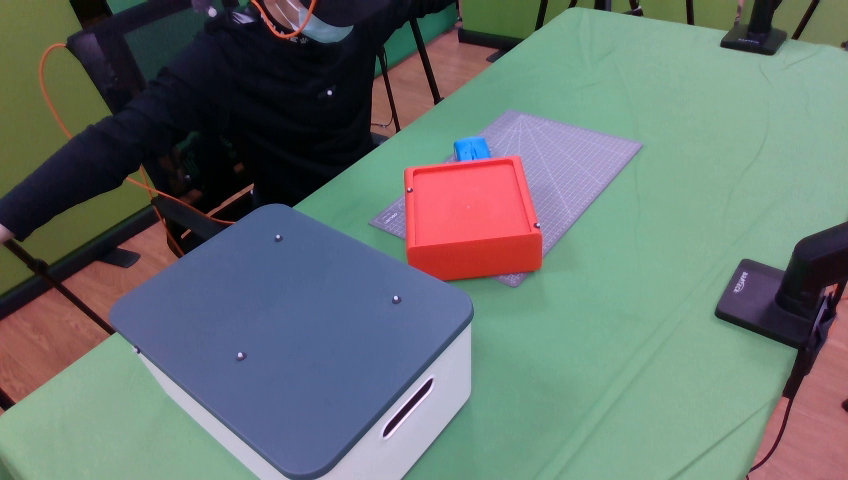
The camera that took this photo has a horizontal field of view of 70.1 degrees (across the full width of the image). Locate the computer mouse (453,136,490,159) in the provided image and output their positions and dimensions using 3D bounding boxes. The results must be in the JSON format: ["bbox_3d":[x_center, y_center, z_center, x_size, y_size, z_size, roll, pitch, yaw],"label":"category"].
[{"bbox_3d":[0.091,-0.157,1.128,0.063,0.041,0.116,-7,45,-2],"label":"computer mouse"}]

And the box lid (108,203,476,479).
[{"bbox_3d":[-0.156,0.079,0.678,0.368,0.015,0.264,24,49,32],"label":"box lid"}]

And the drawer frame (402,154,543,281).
[{"bbox_3d":[0.071,-0.041,0.958,0.202,0.083,0.212,-6,41,1],"label":"drawer frame"}]

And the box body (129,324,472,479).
[{"bbox_3d":[-0.147,0.136,0.726,0.361,0.161,0.255,24,50,32],"label":"box body"}]

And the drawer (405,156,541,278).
[{"bbox_3d":[0.071,-0.040,0.961,0.194,0.073,0.210,-5,41,1],"label":"drawer"}]
